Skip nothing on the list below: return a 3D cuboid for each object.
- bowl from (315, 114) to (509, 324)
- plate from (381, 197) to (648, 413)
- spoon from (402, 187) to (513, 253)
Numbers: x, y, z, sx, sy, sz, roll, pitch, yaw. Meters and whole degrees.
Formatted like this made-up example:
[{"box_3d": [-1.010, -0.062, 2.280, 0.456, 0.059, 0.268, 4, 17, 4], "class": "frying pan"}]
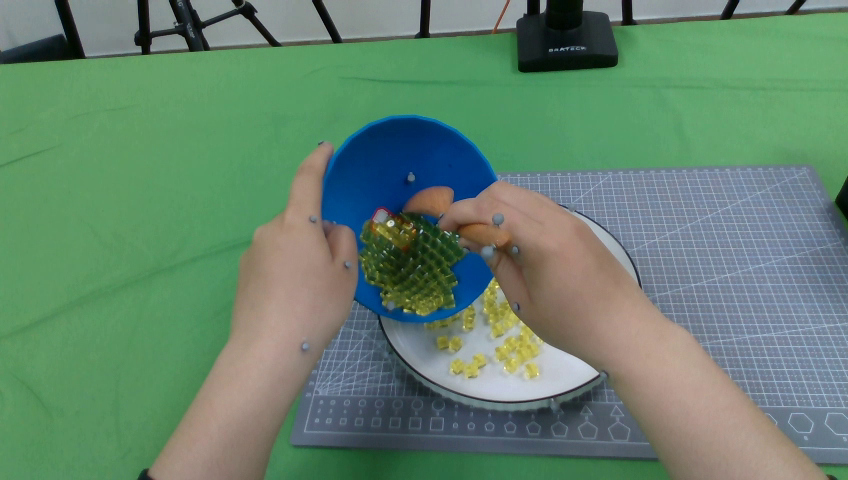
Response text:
[{"box_3d": [-0.018, -0.012, 0.464, 0.151, 0.152, 0.076, -37, 12, -25], "class": "bowl"}, {"box_3d": [0.069, 0.048, 0.489, 0.207, 0.039, 0.205, -4, 46, 5], "class": "plate"}, {"box_3d": [0.020, -0.014, 0.380, 0.041, 0.022, 0.192, -21, 17, -9], "class": "spoon"}]
